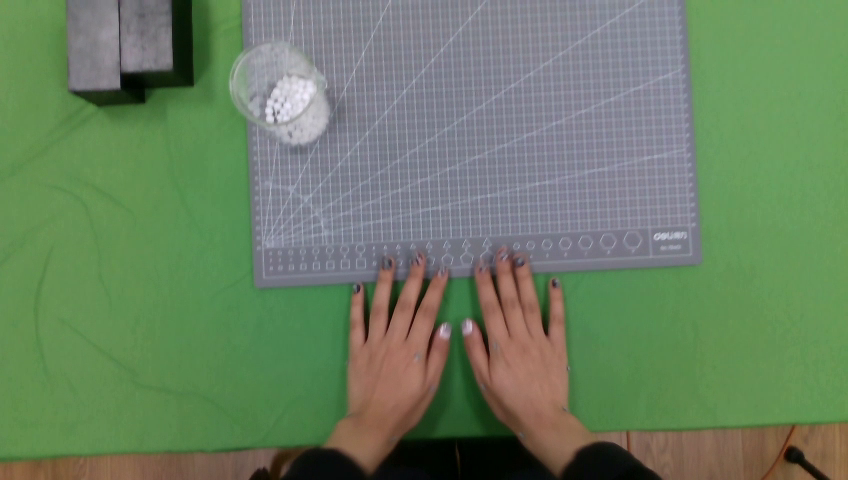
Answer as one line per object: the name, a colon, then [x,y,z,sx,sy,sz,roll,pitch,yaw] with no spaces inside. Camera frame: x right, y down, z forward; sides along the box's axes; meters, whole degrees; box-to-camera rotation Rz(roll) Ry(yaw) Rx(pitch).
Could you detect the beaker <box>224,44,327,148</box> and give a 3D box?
beaker: [-0.130,-0.130,0.569,0.084,0.100,0.074,-3,87,-1]
